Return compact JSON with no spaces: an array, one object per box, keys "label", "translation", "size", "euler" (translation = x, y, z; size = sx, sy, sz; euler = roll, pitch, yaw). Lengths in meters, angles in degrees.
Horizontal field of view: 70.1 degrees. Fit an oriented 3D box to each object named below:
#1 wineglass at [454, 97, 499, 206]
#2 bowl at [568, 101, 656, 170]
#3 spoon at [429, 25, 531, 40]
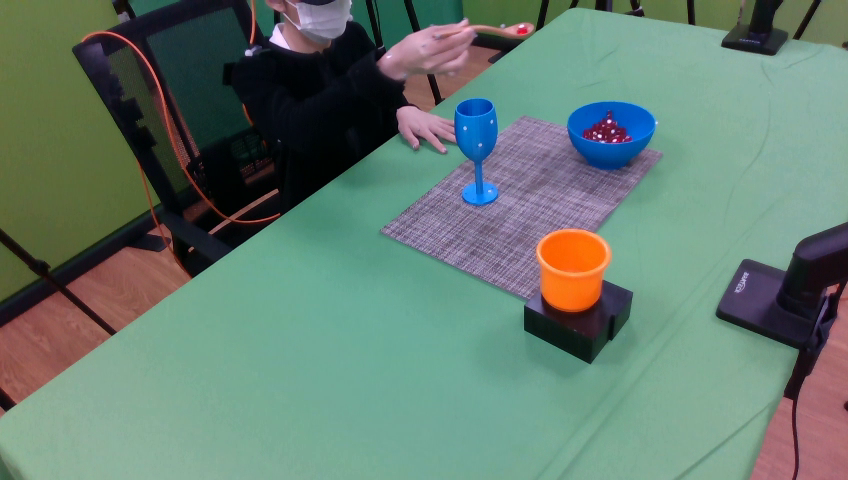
[{"label":"wineglass","translation":[0.090,-0.145,1.009],"size":[0.074,0.173,0.073],"euler":[-5,40,4]},{"label":"bowl","translation":[0.332,-0.179,1.084],"size":[0.151,0.077,0.150],"euler":[-4,40,4]},{"label":"spoon","translation":[0.088,-0.320,0.931],"size":[0.195,0.021,0.041],"euler":[-12,35,-32]}]
